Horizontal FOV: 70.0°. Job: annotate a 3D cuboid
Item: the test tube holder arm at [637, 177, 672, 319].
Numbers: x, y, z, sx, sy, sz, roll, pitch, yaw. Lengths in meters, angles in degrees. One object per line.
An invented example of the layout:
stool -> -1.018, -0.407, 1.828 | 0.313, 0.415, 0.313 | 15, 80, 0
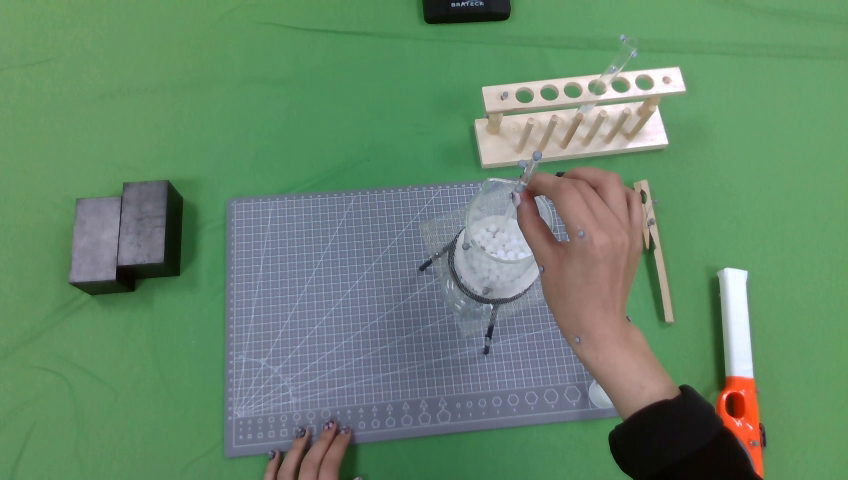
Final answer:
test tube holder arm -> 0.279, 0.007, 0.736 | 0.013, 0.015, 0.177 | -16, 70, 28

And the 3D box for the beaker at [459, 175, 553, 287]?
beaker -> 0.067, -0.004, 0.547 | 0.074, 0.101, 0.083 | -19, 72, -7

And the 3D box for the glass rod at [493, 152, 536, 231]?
glass rod -> 0.071, -0.034, 0.502 | 0.008, 0.200, 0.008 | 0, 77, -1

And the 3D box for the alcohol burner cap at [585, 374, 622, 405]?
alcohol burner cap -> 0.200, 0.162, 0.665 | 0.034, 0.048, 0.033 | 1, 70, -2

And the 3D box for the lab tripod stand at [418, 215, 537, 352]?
lab tripod stand -> 0.060, 0.038, 0.653 | 0.148, 0.132, 0.147 | 0, 72, -1

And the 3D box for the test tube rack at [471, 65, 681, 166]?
test tube rack -> 0.186, -0.153, 0.752 | 0.242, 0.085, 0.066 | -7, 71, -5

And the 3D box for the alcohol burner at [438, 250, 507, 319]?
alcohol burner -> 0.055, 0.044, 0.661 | 0.078, 0.120, 0.077 | 1, 69, -1

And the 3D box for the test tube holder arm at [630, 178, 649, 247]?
test tube holder arm -> 0.270, -0.034, 0.752 | 0.010, 0.015, 0.087 | -15, 70, 28

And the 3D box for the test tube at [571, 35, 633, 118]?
test tube -> 0.205, -0.186, 0.712 | 0.017, 0.151, 0.017 | 3, 69, -8

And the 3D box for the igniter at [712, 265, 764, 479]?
igniter -> 0.351, 0.162, 0.684 | 0.057, 0.025, 0.275 | 9, 71, -10

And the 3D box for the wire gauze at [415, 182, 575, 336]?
wire gauze -> 0.068, 0.014, 0.592 | 0.121, 0.011, 0.124 | -21, 75, -6
